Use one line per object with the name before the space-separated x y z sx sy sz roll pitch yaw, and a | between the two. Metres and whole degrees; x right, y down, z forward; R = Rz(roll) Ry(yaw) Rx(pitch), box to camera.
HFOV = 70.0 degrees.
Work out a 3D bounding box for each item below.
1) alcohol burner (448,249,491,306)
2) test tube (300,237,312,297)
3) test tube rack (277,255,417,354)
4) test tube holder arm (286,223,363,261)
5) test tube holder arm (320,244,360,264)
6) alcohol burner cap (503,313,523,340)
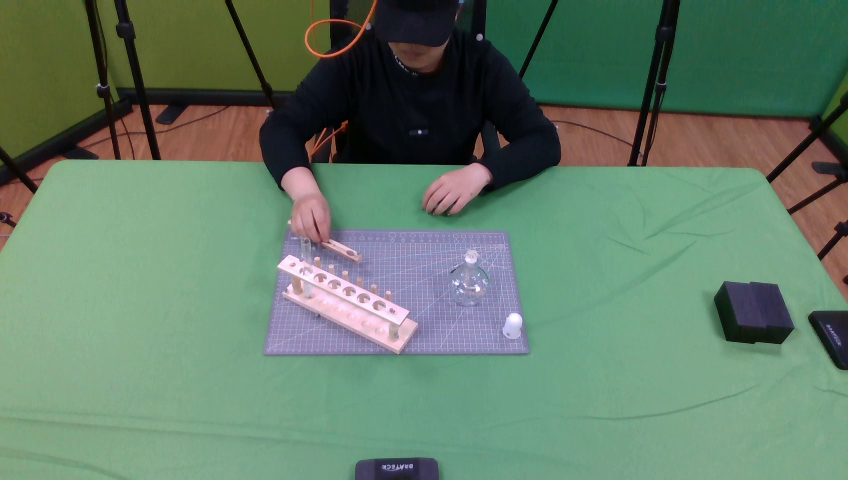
alcohol burner | 0.081 0.062 1.078 0.078 0.120 0.077 1 45 -1
test tube | -0.198 0.049 1.019 0.017 0.151 0.017 4 49 -5
test tube rack | -0.131 0.099 1.045 0.241 0.085 0.066 23 49 17
test tube holder arm | -0.194 0.002 1.164 0.178 0.015 0.013 23 64 23
test tube holder arm | -0.159 0.023 1.144 0.087 0.015 0.010 24 64 23
alcohol burner cap | 0.156 0.148 1.051 0.034 0.048 0.033 1 45 -1
